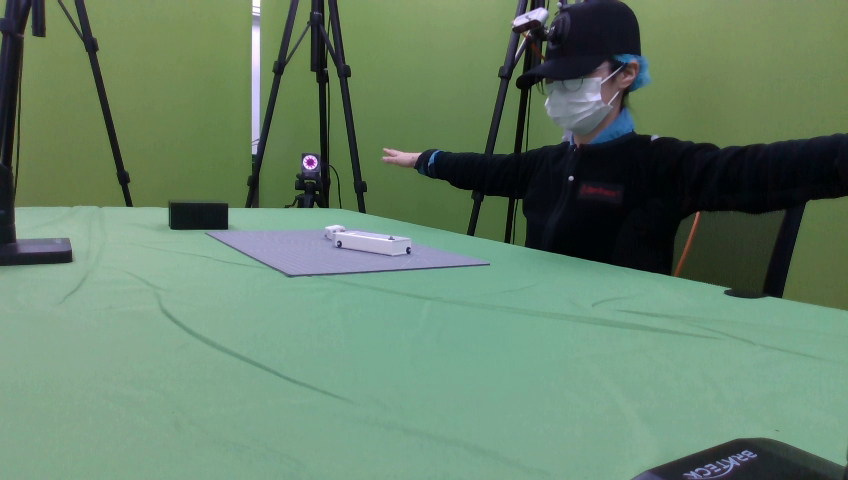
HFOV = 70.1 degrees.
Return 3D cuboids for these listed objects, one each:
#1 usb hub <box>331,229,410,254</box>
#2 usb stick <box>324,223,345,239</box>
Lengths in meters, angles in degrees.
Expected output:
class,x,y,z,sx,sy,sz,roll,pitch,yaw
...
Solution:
class,x,y,z,sx,sy,sz,roll,pitch,yaw
usb hub,-0.085,0.001,0.945,0.124,0.025,0.050,7,9,35
usb stick,-0.153,-0.015,1.051,0.027,0.021,0.059,-14,12,-25
